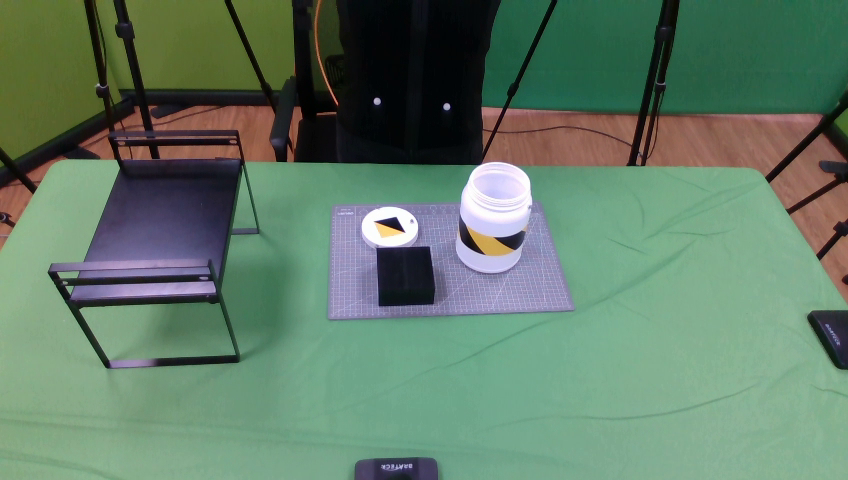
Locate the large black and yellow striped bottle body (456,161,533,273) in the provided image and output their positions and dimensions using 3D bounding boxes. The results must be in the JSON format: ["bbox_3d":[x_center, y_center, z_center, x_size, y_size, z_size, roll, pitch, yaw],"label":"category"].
[{"bbox_3d":[0.131,-0.042,1.129,0.131,0.185,0.130,2,46,-2],"label":"large black and yellow striped bottle body"}]

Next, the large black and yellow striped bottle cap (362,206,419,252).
[{"bbox_3d":[-0.067,-0.024,1.215,0.115,0.019,0.114,1,47,-1],"label":"large black and yellow striped bottle cap"}]
